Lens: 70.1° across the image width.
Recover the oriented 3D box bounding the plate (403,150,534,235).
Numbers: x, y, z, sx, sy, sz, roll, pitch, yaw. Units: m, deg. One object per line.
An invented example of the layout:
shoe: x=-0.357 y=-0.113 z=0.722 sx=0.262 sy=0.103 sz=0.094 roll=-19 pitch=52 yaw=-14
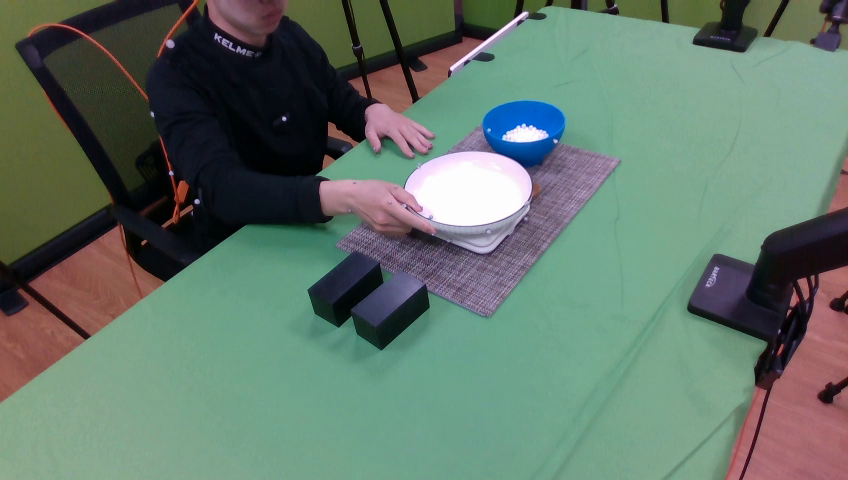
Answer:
plate: x=0.071 y=-0.074 z=0.970 sx=0.209 sy=0.038 sz=0.208 roll=-4 pitch=40 yaw=4

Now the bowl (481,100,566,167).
bowl: x=0.183 y=-0.187 z=1.111 sx=0.151 sy=0.077 sz=0.150 roll=-4 pitch=41 yaw=4

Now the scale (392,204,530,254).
scale: x=0.060 y=-0.050 z=1.006 sx=0.199 sy=0.032 sz=0.149 roll=22 pitch=48 yaw=30

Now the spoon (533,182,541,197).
spoon: x=0.120 y=-0.108 z=1.071 sx=0.192 sy=0.022 sz=0.041 roll=22 pitch=62 yaw=31
